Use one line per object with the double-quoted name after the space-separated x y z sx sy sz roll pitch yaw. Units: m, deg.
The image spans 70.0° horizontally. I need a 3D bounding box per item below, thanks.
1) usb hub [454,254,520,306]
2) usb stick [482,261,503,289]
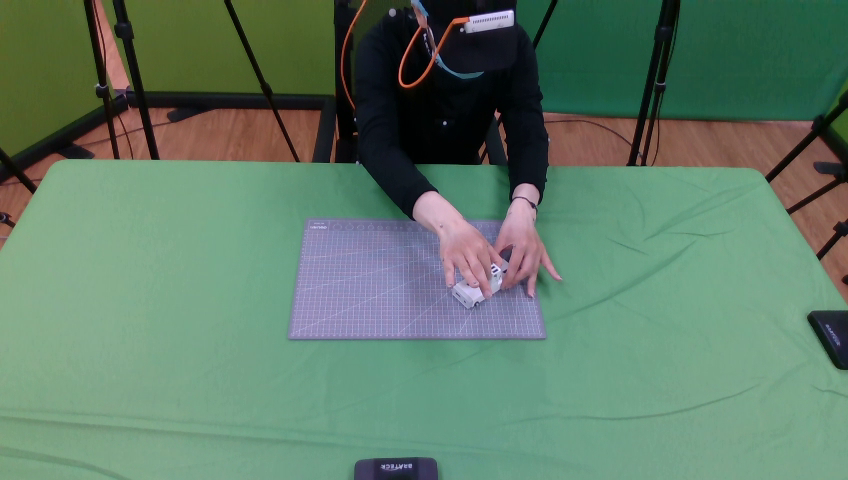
0.117 0.074 1.120 0.125 0.025 0.049 -28 62 -28 "usb hub"
0.121 0.068 1.089 0.021 0.059 0.027 -28 57 -31 "usb stick"
